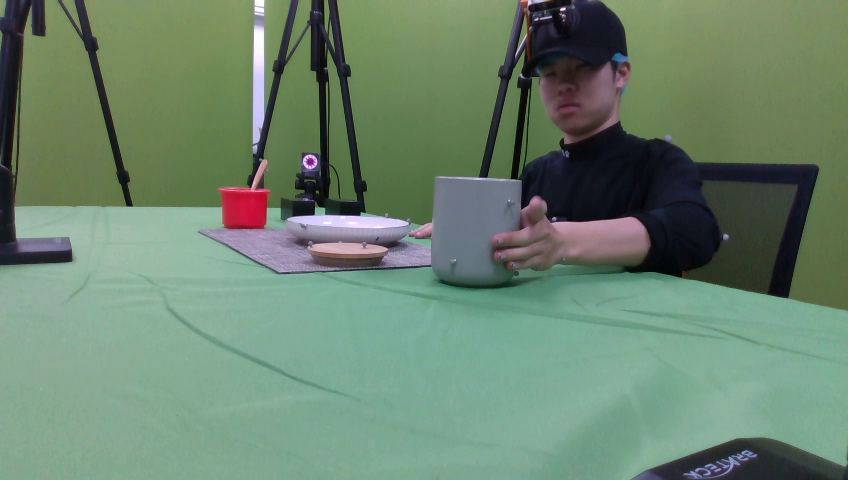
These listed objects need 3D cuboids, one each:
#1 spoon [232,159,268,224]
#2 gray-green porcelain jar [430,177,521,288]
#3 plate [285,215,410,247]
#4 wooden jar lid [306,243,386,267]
[{"bbox_3d":[-0.343,-0.101,1.218,0.041,0.021,0.193,4,51,4],"label":"spoon"},{"bbox_3d":[0.060,-0.011,0.725,0.106,0.126,0.106,2,7,0],"label":"gray-green porcelain jar"},{"bbox_3d":[-0.127,-0.015,1.012,0.208,0.039,0.207,3,7,0],"label":"plate"},{"bbox_3d":[-0.105,0.020,0.816,0.108,0.020,0.108,1,7,0],"label":"wooden jar lid"}]
